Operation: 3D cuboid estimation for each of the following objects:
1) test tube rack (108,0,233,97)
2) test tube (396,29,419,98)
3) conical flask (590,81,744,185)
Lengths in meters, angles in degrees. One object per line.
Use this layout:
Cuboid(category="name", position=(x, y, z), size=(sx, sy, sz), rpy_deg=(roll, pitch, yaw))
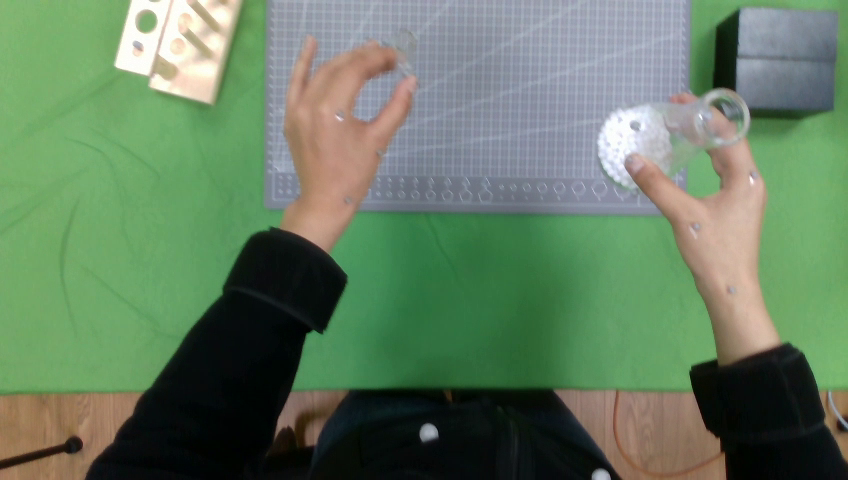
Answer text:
Cuboid(category="test tube rack", position=(-0.228, -0.275, 0.595), size=(0.067, 0.085, 0.242), rpy_deg=(15, 91, -1))
Cuboid(category="test tube", position=(-0.014, -0.140, 0.495), size=(0.017, 0.150, 0.017), rpy_deg=(0, 90, -2))
Cuboid(category="conical flask", position=(0.180, -0.083, 0.447), size=(0.075, 0.121, 0.075), rpy_deg=(0, 90, -10))
